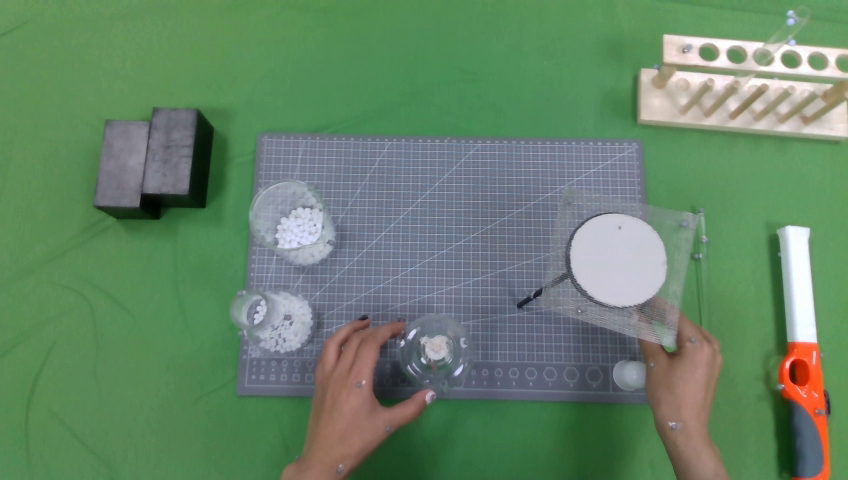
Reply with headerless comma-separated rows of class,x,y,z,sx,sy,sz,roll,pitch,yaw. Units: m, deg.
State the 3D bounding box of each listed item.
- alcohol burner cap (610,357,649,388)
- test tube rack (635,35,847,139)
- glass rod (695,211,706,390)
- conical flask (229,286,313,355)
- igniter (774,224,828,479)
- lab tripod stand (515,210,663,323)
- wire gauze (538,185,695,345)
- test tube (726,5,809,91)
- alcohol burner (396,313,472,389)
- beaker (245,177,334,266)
alcohol burner cap,0.218,0.138,0.634,0.034,0.048,0.033,0,77,-1
test tube rack,0.373,-0.170,0.683,0.242,0.085,0.066,5,77,1
glass rod,0.306,0.065,0.671,0.008,0.008,0.199,3,80,0
conical flask,-0.158,0.075,0.605,0.075,0.122,0.075,0,77,0
igniter,0.402,0.118,0.650,0.057,0.025,0.275,6,77,-11
lab tripod stand,0.169,0.033,0.610,0.148,0.132,0.147,0,79,0
wire gauze,0.173,0.019,0.544,0.125,0.011,0.121,15,79,4
test tube,0.357,-0.197,0.639,0.017,0.151,0.017,-1,77,3
alcohol burner,0.010,0.109,0.603,0.078,0.119,0.077,0,77,2
beaker,-0.133,-0.013,0.636,0.084,0.100,0.074,37,80,7
